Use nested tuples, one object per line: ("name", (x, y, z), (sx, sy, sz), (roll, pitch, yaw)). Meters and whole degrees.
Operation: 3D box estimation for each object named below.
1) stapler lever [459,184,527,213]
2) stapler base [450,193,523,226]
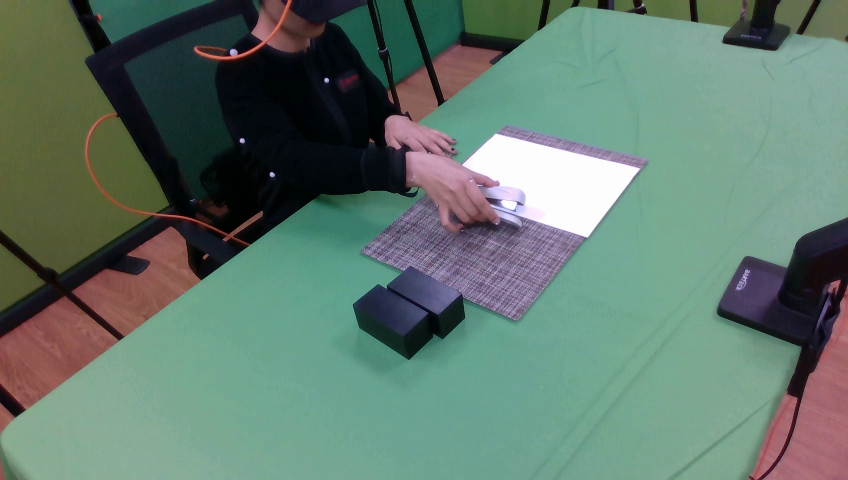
("stapler lever", (0.115, -0.077, 1.005), (0.117, 0.027, 0.040), (21, 83, 32))
("stapler base", (0.107, -0.055, 1.003), (0.129, 0.041, 0.024), (20, 82, 32))
